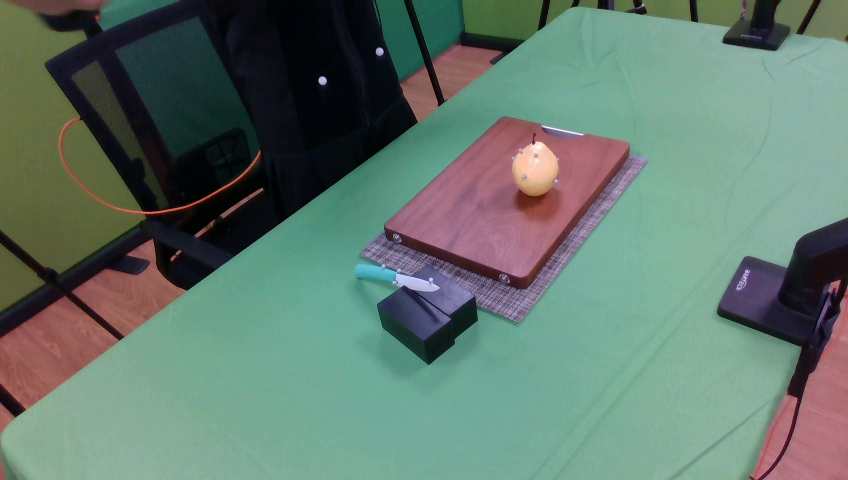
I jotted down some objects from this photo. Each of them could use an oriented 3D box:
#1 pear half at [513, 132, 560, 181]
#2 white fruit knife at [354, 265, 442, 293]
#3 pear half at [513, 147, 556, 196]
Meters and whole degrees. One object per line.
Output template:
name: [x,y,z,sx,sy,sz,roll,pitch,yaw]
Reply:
pear half: [0.186,-0.136,0.996,0.076,0.110,0.056,6,42,13]
white fruit knife: [-0.041,0.055,0.867,0.016,0.027,0.205,-31,23,-34]
pear half: [0.178,-0.106,0.977,0.070,0.088,0.031,7,43,12]
